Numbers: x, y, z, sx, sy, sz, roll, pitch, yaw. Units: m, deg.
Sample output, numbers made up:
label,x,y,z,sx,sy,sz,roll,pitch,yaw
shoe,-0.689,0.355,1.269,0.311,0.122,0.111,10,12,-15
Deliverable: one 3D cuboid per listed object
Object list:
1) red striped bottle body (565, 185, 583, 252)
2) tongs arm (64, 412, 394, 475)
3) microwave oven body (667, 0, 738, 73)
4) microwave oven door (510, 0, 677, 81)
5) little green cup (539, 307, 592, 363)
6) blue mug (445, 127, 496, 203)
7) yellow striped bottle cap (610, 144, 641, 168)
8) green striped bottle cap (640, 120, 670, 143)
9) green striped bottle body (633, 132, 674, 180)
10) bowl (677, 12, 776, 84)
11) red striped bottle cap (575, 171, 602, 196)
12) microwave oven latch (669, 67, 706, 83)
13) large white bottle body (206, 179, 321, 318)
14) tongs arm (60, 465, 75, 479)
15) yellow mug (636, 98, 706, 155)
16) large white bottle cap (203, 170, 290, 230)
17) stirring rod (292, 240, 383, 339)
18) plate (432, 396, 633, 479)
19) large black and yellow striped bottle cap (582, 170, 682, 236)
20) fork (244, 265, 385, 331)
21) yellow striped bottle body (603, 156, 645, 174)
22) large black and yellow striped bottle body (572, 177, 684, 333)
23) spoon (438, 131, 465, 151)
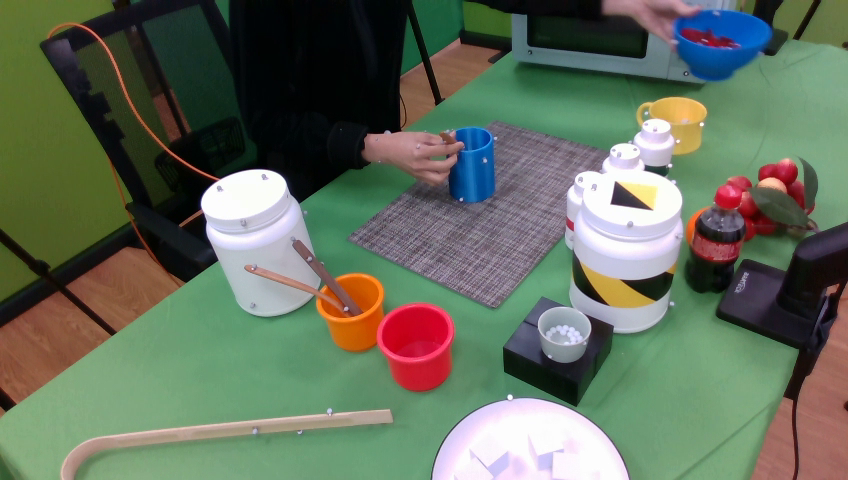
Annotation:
label,x,y,z,sx,sy,sz,roll,pitch,yaw
red striped bottle body,0.247,-0.041,0.910,0.063,0.120,0.062,-3,39,3
tongs arm,-0.228,0.240,0.715,0.385,0.026,0.050,-4,43,5
microwave oven body,0.462,-0.552,1.369,0.439,0.261,0.326,15,45,26
microwave oven door,0.354,-0.478,1.290,0.353,0.245,0.039,15,45,25
little green cup,0.168,0.115,0.721,0.061,0.039,0.061,-4,42,4
blue mug,0.082,-0.140,1.059,0.082,0.106,0.116,-3,40,5
yellow striped bottle cap,0.307,-0.128,0.923,0.044,0.019,0.044,-5,39,5
green striped bottle cap,0.370,-0.174,0.968,0.044,0.020,0.044,-3,40,3
green striped bottle body,0.376,-0.135,1.001,0.063,0.120,0.063,-5,40,4
bowl,0.499,-0.316,1.019,0.151,0.077,0.150,-4,42,4
red striped bottle cap,0.242,-0.081,0.876,0.044,0.018,0.044,-5,43,5
microwave oven latch,0.556,-0.348,1.261,0.078,0.029,0.030,16,46,27
large white bottle body,-0.233,0.007,0.876,0.130,0.185,0.130,-5,40,4
tongs arm,-0.240,0.300,0.648,0.386,0.028,0.028,6,48,17
yellow mug,0.453,-0.217,1.128,0.100,0.064,0.129,-33,46,-28
large white bottle cap,-0.241,-0.057,0.822,0.115,0.018,0.114,-4,41,4
stirring rod,-0.118,0.068,0.826,0.176,0.006,0.014,49,60,-4
plate,0.112,0.261,0.634,0.209,0.038,0.208,-5,40,4
large black and yellow striped bottle cap,0.252,-0.048,0.735,0.115,0.019,0.114,-3,40,3
fork,-0.142,0.078,0.806,0.209,0.018,0.028,30,33,-24
yellow striped bottle body,0.313,-0.089,0.955,0.063,0.121,0.062,-4,40,4
large black and yellow striped bottle body,0.262,0.017,0.788,0.131,0.185,0.130,-5,40,4
spoon,0.059,-0.147,0.996,0.041,0.195,0.021,2,78,23
